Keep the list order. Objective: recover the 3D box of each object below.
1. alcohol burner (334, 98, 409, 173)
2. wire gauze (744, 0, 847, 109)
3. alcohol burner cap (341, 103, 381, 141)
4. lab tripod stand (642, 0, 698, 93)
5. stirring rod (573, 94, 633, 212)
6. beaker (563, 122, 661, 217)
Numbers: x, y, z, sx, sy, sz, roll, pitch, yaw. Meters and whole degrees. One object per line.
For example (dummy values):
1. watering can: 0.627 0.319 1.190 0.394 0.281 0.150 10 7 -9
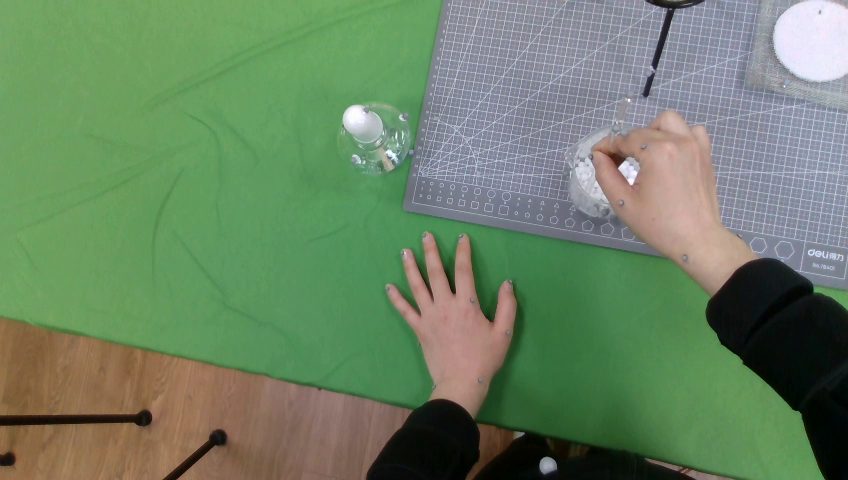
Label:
1. alcohol burner: -0.056 -0.110 0.608 0.078 0.119 0.077 -1 83 7
2. wire gauze: 0.389 -0.198 0.600 0.125 0.011 0.121 15 87 7
3. alcohol burner cap: -0.062 -0.114 0.573 0.034 0.048 0.034 0 88 9
4. lab tripod stand: 0.219 -0.229 0.564 0.148 0.132 0.148 0 86 7
5. stirring rod: 0.147 -0.066 0.510 0.014 0.177 0.005 -2 65 2
6. beaker: 0.171 -0.063 0.575 0.084 0.100 0.074 17 87 11
